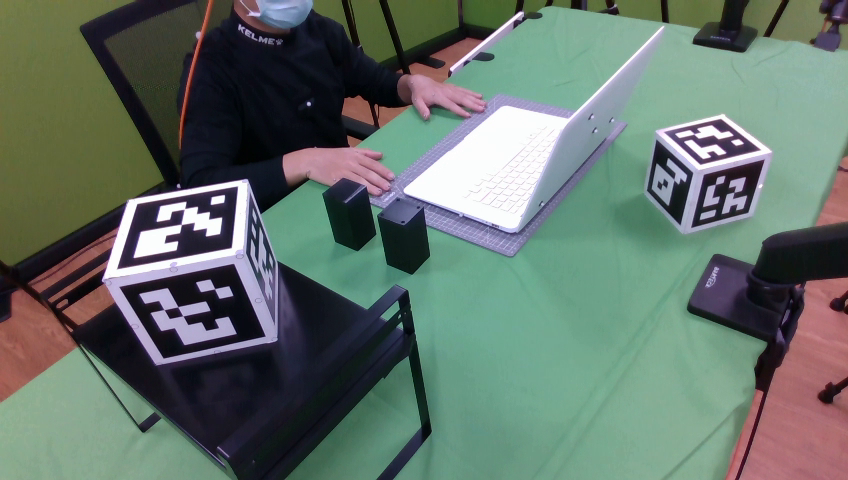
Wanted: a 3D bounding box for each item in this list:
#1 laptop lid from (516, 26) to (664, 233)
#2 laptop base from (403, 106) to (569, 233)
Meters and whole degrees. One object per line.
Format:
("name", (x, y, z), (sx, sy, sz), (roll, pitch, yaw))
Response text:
("laptop lid", (0.268, -0.178, 0.966), (0.013, 0.242, 0.357), (35, 52, 16))
("laptop base", (0.156, -0.144, 1.116), (0.233, 0.023, 0.355), (20, 47, 32))
